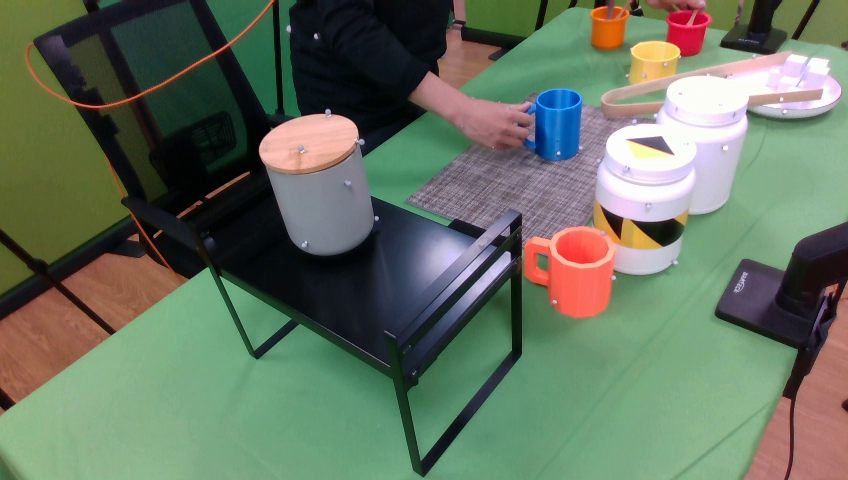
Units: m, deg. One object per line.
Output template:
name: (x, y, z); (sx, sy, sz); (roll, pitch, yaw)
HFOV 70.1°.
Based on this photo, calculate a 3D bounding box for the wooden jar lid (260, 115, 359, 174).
wooden jar lid: (-0.124, -0.101, 0.662); (0.108, 0.021, 0.108); (-4, 41, 4)

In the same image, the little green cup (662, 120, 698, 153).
little green cup: (0.469, -0.191, 1.117); (0.061, 0.039, 0.061); (-5, 41, 5)

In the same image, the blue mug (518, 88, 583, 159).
blue mug: (0.233, -0.213, 1.121); (0.116, 0.106, 0.082); (-6, 41, 3)

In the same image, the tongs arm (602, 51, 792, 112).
tongs arm: (0.552, -0.320, 1.224); (0.384, 0.027, 0.050); (-10, 44, 7)

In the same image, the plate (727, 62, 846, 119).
plate: (0.709, -0.292, 1.197); (0.207, 0.039, 0.206); (-4, 40, 4)

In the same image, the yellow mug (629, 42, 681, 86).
yellow mug: (0.495, -0.389, 1.321); (0.100, 0.064, 0.130); (-14, 39, -6)

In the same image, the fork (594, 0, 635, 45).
fork: (0.484, -0.552, 1.447); (0.207, 0.019, 0.028); (-51, 45, 17)

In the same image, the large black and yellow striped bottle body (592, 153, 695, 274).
large black and yellow striped bottle body: (0.313, -0.056, 0.872); (0.131, 0.185, 0.130); (-4, 41, 4)

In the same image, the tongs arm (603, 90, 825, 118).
tongs arm: (0.546, -0.262, 1.163); (0.386, 0.028, 0.028); (-1, 49, 18)

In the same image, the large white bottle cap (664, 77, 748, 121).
large white bottle cap: (0.421, -0.212, 0.905); (0.115, 0.018, 0.114); (-4, 40, 4)

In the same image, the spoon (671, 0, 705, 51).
spoon: (0.628, -0.521, 1.395); (0.041, 0.022, 0.193); (30, 97, 32)

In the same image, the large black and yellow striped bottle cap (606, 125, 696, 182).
large black and yellow striped bottle cap: (0.305, -0.119, 0.816); (0.115, 0.019, 0.114); (-5, 41, 5)

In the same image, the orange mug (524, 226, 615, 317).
orange mug: (0.201, 0.039, 0.845); (0.125, 0.101, 0.083); (18, 46, 21)

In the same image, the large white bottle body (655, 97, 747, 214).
large white bottle body: (0.431, -0.148, 0.959); (0.130, 0.185, 0.130); (-4, 41, 4)

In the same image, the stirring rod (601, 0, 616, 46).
stirring rod: (0.452, -0.554, 1.464); (0.014, 0.006, 0.176); (11, 86, 14)

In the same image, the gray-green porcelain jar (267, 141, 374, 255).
gray-green porcelain jar: (-0.116, -0.054, 0.703); (0.106, 0.127, 0.105); (-4, 40, 4)
